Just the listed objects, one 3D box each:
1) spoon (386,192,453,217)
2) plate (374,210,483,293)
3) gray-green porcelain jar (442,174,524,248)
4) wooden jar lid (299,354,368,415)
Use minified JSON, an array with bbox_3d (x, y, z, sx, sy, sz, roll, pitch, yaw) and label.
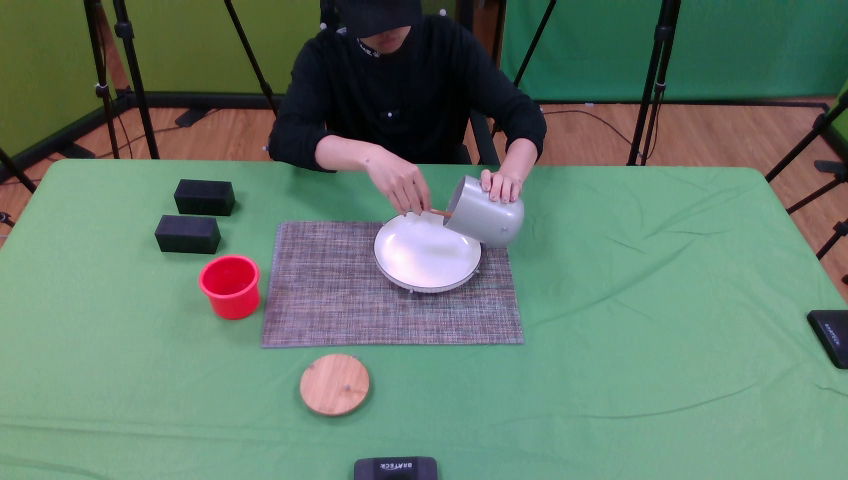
[{"bbox_3d":[0.022,-0.054,1.114,0.194,0.022,0.041,14,41,-9],"label":"spoon"},{"bbox_3d":[0.008,0.024,1.158,0.208,0.039,0.206,2,46,-2],"label":"plate"},{"bbox_3d":[0.111,-0.050,1.107,0.127,0.106,0.105,21,46,-8],"label":"gray-green porcelain jar"},{"bbox_3d":[-0.143,0.232,0.964,0.108,0.021,0.107,2,45,-2],"label":"wooden jar lid"}]
